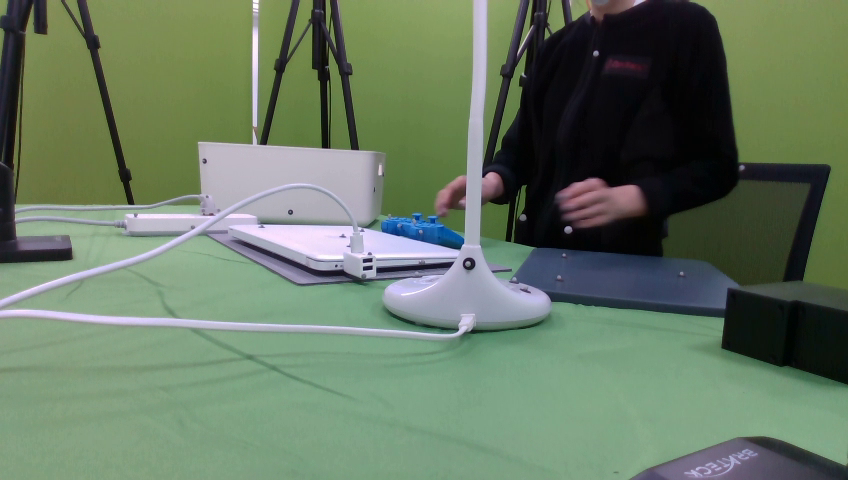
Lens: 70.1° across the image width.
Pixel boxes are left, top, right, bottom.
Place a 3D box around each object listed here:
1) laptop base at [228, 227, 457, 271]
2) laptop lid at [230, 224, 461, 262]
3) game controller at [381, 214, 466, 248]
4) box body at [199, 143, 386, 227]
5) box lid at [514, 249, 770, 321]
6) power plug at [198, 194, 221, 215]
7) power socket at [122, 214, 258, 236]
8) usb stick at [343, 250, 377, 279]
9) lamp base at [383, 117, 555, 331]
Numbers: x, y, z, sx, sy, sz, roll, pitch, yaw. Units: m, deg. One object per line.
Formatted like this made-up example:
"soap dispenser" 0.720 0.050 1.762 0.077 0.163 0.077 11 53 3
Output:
"laptop base" -0.122 0.011 0.889 0.237 0.023 0.352 2 6 -35
"laptop lid" -0.120 0.000 0.888 0.243 0.013 0.355 1 7 -33
"game controller" -0.006 -0.017 1.039 0.097 0.051 0.154 -5 10 -33
"box body" -0.277 -0.124 1.334 0.364 0.160 0.254 3 7 1
"box lid" 0.259 0.048 0.781 0.263 0.015 0.372 4 7 14
"power plug" -0.387 -0.055 1.089 0.035 0.052 0.072 -1 7 -22
"power socket" -0.398 -0.028 1.049 0.228 0.032 0.072 -3 8 -34
"usb stick" -0.076 0.026 0.687 0.021 0.027 0.059 -8 8 -31
"lamp base" 0.045 -0.019 0.547 0.161 0.180 0.179 2 10 -4
